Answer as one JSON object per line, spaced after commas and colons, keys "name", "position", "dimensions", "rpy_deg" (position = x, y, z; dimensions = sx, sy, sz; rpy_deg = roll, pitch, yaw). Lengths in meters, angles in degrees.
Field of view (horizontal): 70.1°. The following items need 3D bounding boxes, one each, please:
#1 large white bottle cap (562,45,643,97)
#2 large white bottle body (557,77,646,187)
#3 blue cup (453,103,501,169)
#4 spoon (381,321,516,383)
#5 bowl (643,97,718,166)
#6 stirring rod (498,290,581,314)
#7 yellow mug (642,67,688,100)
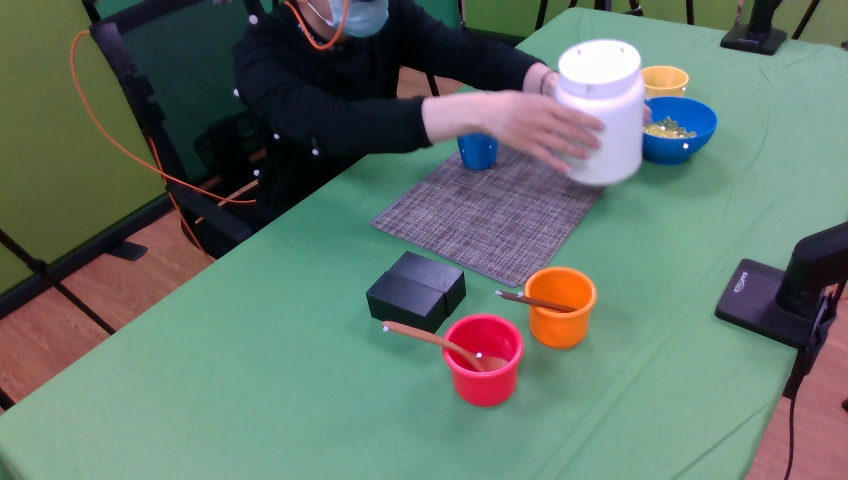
{"name": "large white bottle cap", "position": [0.259, -0.248, 0.881], "dimensions": [0.114, 0.018, 0.114], "rpy_deg": [-7, 45, 8]}
{"name": "large white bottle body", "position": [0.275, -0.189, 0.941], "dimensions": [0.130, 0.185, 0.130], "rpy_deg": [-8, 45, 9]}
{"name": "blue cup", "position": [0.099, -0.188, 1.114], "dimensions": [0.092, 0.100, 0.092], "rpy_deg": [-3, 39, 3]}
{"name": "spoon", "position": [0.033, 0.131, 0.725], "dimensions": [0.195, 0.021, 0.041], "rpy_deg": [29, 29, -26]}
{"name": "bowl", "position": [0.439, -0.187, 1.087], "dimensions": [0.151, 0.077, 0.150], "rpy_deg": [-4, 41, 4]}
{"name": "stirring rod", "position": [0.152, 0.080, 0.771], "dimensions": [0.178, 0.006, 0.014], "rpy_deg": [15, 20, -44]}
{"name": "yellow mug", "position": [0.464, -0.306, 1.230], "dimensions": [0.100, 0.064, 0.129], "rpy_deg": [-34, 46, -27]}
